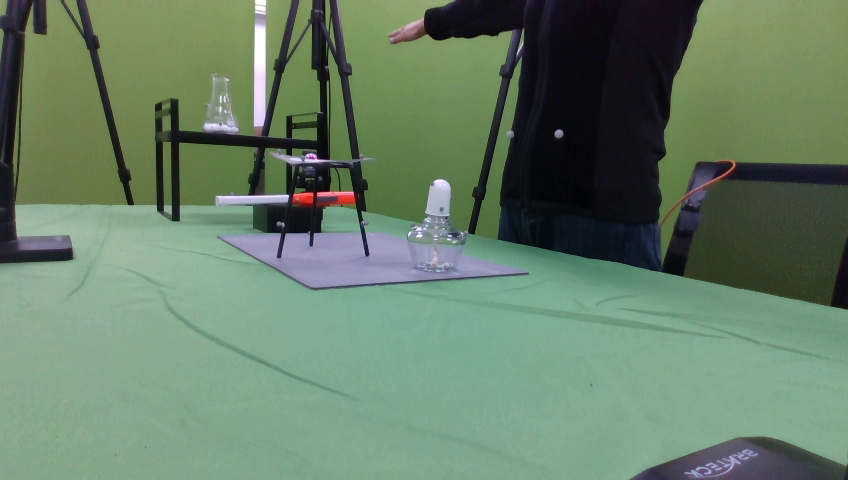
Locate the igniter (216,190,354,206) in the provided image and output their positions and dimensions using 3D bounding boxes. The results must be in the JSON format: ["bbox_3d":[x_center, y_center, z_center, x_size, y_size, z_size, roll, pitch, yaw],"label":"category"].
[{"bbox_3d":[-0.248,-0.079,1.142,0.278,0.025,0.057,-5,8,-31],"label":"igniter"}]

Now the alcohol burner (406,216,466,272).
[{"bbox_3d":[0.017,-0.018,0.777,0.078,0.119,0.078,5,7,0],"label":"alcohol burner"}]

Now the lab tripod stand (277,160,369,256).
[{"bbox_3d":[-0.149,-0.046,0.861,0.148,0.131,0.148,3,9,0],"label":"lab tripod stand"}]

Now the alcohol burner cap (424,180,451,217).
[{"bbox_3d":[0.020,-0.053,0.772,0.034,0.048,0.034,6,14,-1],"label":"alcohol burner cap"}]

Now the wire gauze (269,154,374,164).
[{"bbox_3d":[-0.146,-0.114,0.860,0.122,0.011,0.124,-2,9,-28],"label":"wire gauze"}]

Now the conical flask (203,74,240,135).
[{"bbox_3d":[-0.425,-0.284,1.271,0.075,0.122,0.075,3,7,0],"label":"conical flask"}]
